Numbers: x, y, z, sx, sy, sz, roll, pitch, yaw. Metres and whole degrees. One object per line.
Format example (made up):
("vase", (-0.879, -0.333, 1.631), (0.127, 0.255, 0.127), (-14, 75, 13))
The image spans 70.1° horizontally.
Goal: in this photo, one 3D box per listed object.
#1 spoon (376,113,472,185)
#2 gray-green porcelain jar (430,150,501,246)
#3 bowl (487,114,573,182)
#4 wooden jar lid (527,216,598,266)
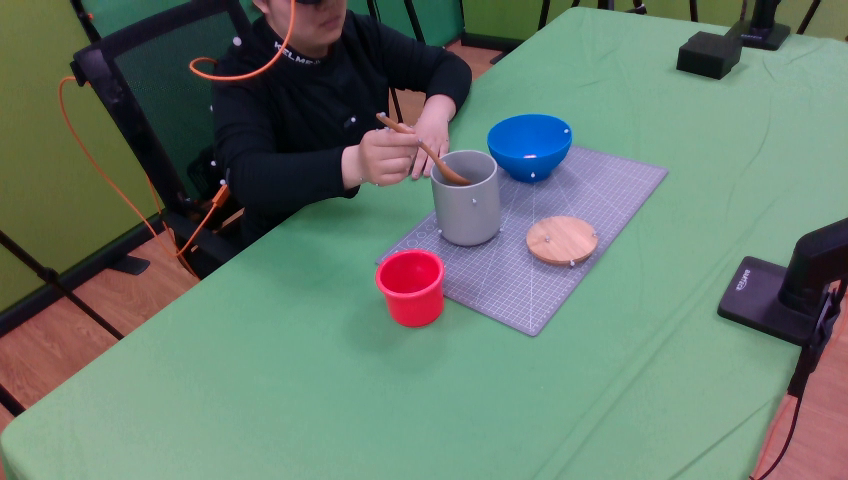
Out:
("spoon", (0.003, -0.128, 0.872), (0.041, 0.195, 0.021), (21, 78, 53))
("gray-green porcelain jar", (0.069, -0.062, 0.959), (0.106, 0.127, 0.105), (-5, 40, 5))
("bowl", (0.190, -0.156, 1.085), (0.151, 0.077, 0.150), (-5, 40, 5))
("wooden jar lid", (0.215, 0.003, 0.937), (0.108, 0.021, 0.108), (-4, 40, 4))
